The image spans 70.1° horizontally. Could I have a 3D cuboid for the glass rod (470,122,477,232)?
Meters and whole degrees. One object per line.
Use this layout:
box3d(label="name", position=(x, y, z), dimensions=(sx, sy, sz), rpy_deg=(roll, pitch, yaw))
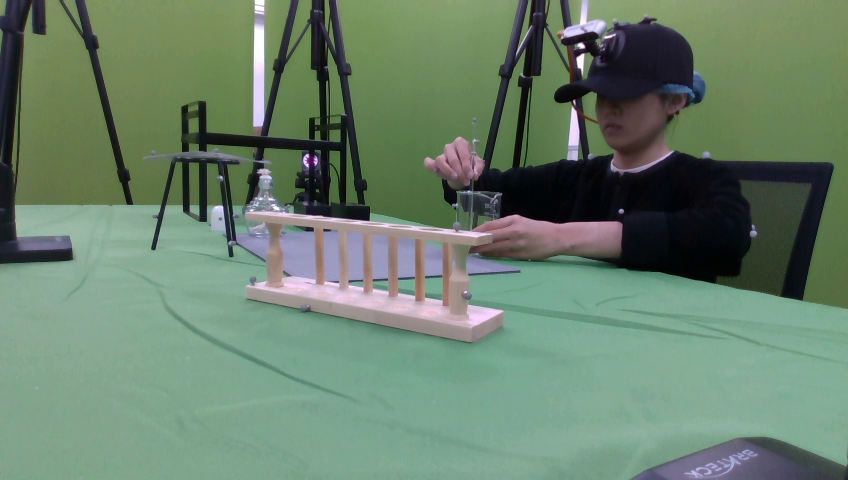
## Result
box3d(label="glass rod", position=(0.079, -0.085, 0.955), dimensions=(0.008, 0.199, 0.008), rpy_deg=(1, 11, 0))

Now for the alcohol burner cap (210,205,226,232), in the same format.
box3d(label="alcohol burner cap", position=(-0.376, -0.040, 1.107), dimensions=(0.034, 0.048, 0.034), rpy_deg=(2, 7, 0))

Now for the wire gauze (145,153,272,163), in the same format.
box3d(label="wire gauze", position=(-0.303, -0.117, 0.854), dimensions=(0.121, 0.011, 0.126), rpy_deg=(7, 8, 34))

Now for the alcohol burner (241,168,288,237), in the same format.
box3d(label="alcohol burner", position=(-0.272, -0.064, 1.036), dimensions=(0.078, 0.119, 0.078), rpy_deg=(4, 5, 0))

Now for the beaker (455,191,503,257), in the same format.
box3d(label="beaker", position=(0.087, -0.025, 0.955), dimensions=(0.074, 0.100, 0.083), rpy_deg=(-1, 8, -25))

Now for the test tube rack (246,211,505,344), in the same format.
box3d(label="test tube rack", position=(-0.049, 0.025, 0.547), dimensions=(0.241, 0.085, 0.067), rpy_deg=(7, 8, 29))

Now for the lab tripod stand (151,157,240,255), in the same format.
box3d(label="lab tripod stand", position=(-0.310, -0.052, 0.866), dimensions=(0.148, 0.131, 0.148), rpy_deg=(2, 6, 0))
